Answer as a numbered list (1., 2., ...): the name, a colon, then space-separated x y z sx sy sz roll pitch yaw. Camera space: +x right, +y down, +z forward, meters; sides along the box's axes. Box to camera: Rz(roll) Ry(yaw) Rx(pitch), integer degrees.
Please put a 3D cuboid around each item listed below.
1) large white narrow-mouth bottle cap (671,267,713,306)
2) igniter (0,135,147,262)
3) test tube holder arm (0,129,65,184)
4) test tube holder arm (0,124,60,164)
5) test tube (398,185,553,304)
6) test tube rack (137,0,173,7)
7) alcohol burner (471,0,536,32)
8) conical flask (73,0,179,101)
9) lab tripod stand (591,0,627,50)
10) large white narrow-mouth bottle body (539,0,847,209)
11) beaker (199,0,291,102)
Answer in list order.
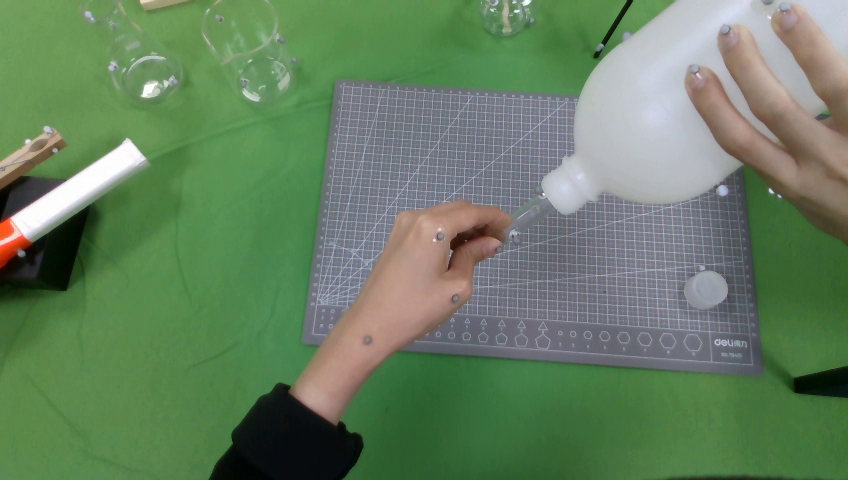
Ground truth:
1. large white narrow-mouth bottle cap: 0.268 0.046 0.605 0.038 0.024 0.037 0 73 0
2. igniter: -0.385 -0.006 0.557 0.276 0.025 0.057 -40 79 -16
3. test tube holder arm: -0.389 -0.076 0.583 0.088 0.015 0.010 -39 76 -13
4. test tube holder arm: -0.427 -0.052 0.574 0.178 0.015 0.013 -40 77 -13
5. test tube: 0.034 0.006 0.433 0.150 0.017 0.017 -38 71 30
6. test tube rack: -0.224 -0.348 0.689 0.242 0.085 0.066 -16 73 -6
7. alcohol burner: 0.089 -0.287 0.662 0.078 0.120 0.077 1 70 -2
8. conical flask: -0.309 -0.204 0.622 0.075 0.122 0.075 0 71 -1
9. lab tripod stand: 0.258 -0.273 0.651 0.148 0.132 0.147 1 71 -2
10. large white narrow-mouth bottle body: 0.150 -0.083 0.345 0.195 0.102 0.101 -38 72 27
11. beaker: -0.184 -0.196 0.634 0.074 0.101 0.083 18 73 6
